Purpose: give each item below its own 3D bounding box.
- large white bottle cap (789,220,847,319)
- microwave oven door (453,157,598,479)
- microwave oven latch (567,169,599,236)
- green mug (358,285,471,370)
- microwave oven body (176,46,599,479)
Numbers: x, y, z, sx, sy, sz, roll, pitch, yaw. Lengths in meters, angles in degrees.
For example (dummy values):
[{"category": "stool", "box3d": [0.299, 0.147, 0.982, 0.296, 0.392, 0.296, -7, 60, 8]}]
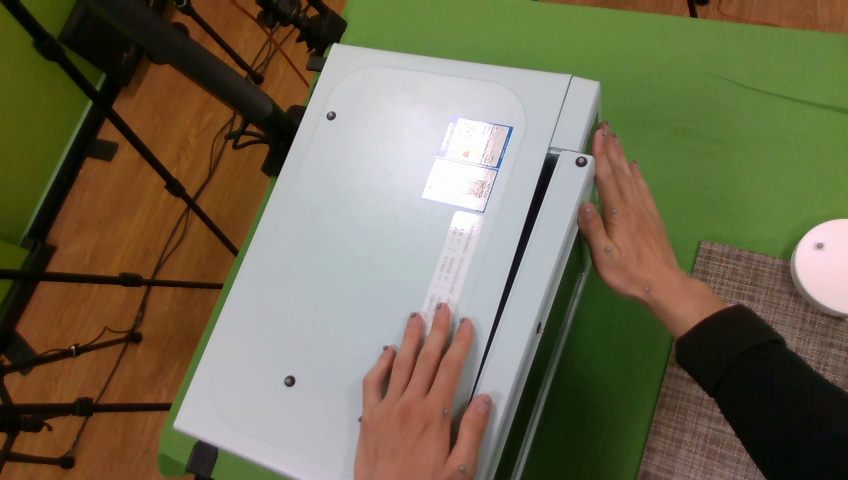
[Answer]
[{"category": "large white bottle cap", "box3d": [0.478, 0.033, 0.684, 0.114, 0.018, 0.114, -5, 70, 14]}, {"category": "microwave oven door", "box3d": [0.109, 0.122, 0.624, 0.039, 0.246, 0.354, 16, 77, 22]}, {"category": "microwave oven latch", "box3d": [0.201, -0.047, 0.768, 0.030, 0.030, 0.079, 14, 77, 20]}, {"category": "green mug", "box3d": [-0.009, 0.101, 0.696, 0.125, 0.105, 0.092, 1, 75, 10]}, {"category": "microwave oven body", "box3d": [-0.017, 0.051, 0.692, 0.324, 0.262, 0.440, 14, 77, 20]}]
